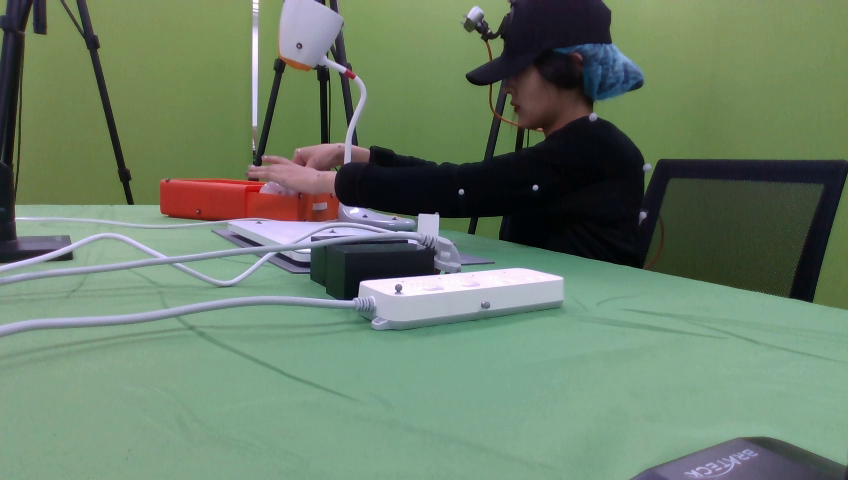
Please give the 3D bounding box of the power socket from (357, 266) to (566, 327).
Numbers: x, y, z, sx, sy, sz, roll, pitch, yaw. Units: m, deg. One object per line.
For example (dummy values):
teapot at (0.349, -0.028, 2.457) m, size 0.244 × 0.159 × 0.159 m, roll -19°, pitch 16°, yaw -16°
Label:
power socket at (0.042, 0.049, 0.573) m, size 0.228 × 0.032 × 0.072 m, roll -3°, pitch 8°, yaw -34°

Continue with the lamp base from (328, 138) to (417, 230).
lamp base at (-0.104, -0.113, 1.213) m, size 0.180 × 0.180 × 0.160 m, roll -2°, pitch 6°, yaw -14°

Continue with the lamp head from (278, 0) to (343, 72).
lamp head at (-0.218, -0.376, 1.125) m, size 0.112 × 0.123 × 0.112 m, roll 17°, pitch 10°, yaw -3°

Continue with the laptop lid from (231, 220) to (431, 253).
laptop lid at (-0.142, -0.009, 0.942) m, size 0.243 × 0.013 × 0.355 m, roll 1°, pitch 7°, yaw -31°

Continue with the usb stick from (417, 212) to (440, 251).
usb stick at (0.005, -0.003, 0.721) m, size 0.027 × 0.059 × 0.021 m, roll 0°, pitch -3°, yaw -3°

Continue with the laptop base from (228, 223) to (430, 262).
laptop base at (-0.145, 0.002, 0.943) m, size 0.237 × 0.023 × 0.352 m, roll 2°, pitch 6°, yaw -32°

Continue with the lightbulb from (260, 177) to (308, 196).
lightbulb at (-0.287, -0.101, 1.247) m, size 0.108 × 0.059 × 0.059 m, roll -32°, pitch 25°, yaw -30°

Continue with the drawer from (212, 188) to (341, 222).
drawer at (-0.312, -0.076, 1.297) m, size 0.211 × 0.073 × 0.195 m, roll 3°, pitch 8°, yaw 17°

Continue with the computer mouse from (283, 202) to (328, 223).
computer mouse at (-0.251, -0.060, 1.287) m, size 0.063 × 0.041 × 0.117 m, roll 3°, pitch 4°, yaw 11°

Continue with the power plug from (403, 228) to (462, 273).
power plug at (0.006, 0.016, 0.647) m, size 0.073 × 0.052 × 0.035 m, roll 17°, pitch 12°, yaw -5°

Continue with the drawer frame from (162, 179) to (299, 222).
drawer frame at (-0.418, -0.089, 1.329) m, size 0.213 × 0.082 × 0.202 m, roll 4°, pitch 8°, yaw 18°
